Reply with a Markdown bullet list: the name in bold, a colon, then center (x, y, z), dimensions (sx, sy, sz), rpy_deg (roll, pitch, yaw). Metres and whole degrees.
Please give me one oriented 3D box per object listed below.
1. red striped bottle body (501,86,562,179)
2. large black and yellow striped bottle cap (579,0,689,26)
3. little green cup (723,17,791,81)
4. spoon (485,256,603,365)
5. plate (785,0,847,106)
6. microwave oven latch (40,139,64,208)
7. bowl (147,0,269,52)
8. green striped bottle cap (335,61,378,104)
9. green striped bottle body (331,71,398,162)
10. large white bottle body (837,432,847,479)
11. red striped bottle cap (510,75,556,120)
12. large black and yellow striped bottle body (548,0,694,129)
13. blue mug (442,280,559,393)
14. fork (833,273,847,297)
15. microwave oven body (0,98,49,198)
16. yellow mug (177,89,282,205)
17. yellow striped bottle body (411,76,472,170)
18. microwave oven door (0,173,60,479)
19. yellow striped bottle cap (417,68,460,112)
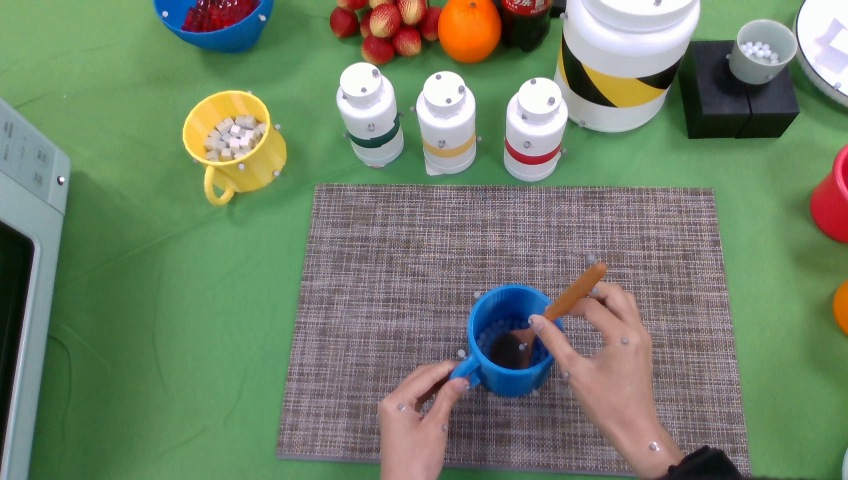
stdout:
- **red striped bottle body**: center (0.114, -0.121, 0.652), dimensions (0.063, 0.120, 0.062), rpy_deg (-3, 65, 7)
- **large black and yellow striped bottle cap**: center (0.199, -0.253, 0.574), dimensions (0.115, 0.019, 0.114), rpy_deg (-2, 66, 5)
- **little green cup**: center (0.358, -0.205, 0.656), dimensions (0.061, 0.039, 0.061), rpy_deg (-1, 65, 2)
- **spoon**: center (0.098, 0.067, 0.519), dimensions (0.021, 0.194, 0.041), rpy_deg (-26, 71, -29)
- **plate**: center (0.528, -0.231, 0.709), dimensions (0.209, 0.038, 0.207), rpy_deg (-1, 68, 4)
- **microwave oven latch**: center (-0.440, -0.076, 0.701), dimensions (0.030, 0.030, 0.078), rpy_deg (-6, 68, 2)
- **bowl**: center (-0.264, -0.298, 0.779), dimensions (0.151, 0.077, 0.150), rpy_deg (-1, 67, 4)
- **green striped bottle cap**: center (-0.070, -0.163, 0.628), dimensions (0.044, 0.020, 0.044), rpy_deg (-2, 64, 4)
- **green striped bottle body**: center (-0.065, -0.143, 0.675), dimensions (0.063, 0.120, 0.062), rpy_deg (-1, 67, 4)
- **large white bottle body**: center (0.431, 0.184, 0.463), dimensions (0.130, 0.186, 0.129), rpy_deg (-2, 66, 4)
- **red striped bottle cap**: center (0.109, -0.142, 0.604), dimensions (0.044, 0.018, 0.044), rpy_deg (0, 66, 1)
- **large black and yellow striped bottle body**: center (0.207, -0.221, 0.651), dimensions (0.131, 0.185, 0.130), rpy_deg (-2, 67, 4)
- **blue mug**: center (0.066, 0.102, 0.566), dimensions (0.116, 0.106, 0.081), rpy_deg (-34, 68, -9)
- **fork**: center (0.462, 0.070, 0.528), dimensions (0.028, 0.019, 0.205), rpy_deg (-36, 25, -10)
- **microwave oven body**: center (-0.575, 0.067, 0.547), dimensions (0.326, 0.262, 0.438), rpy_deg (-8, 68, 1)
- **yellow mug**: center (-0.228, -0.102, 0.700), dimensions (0.100, 0.064, 0.130), rpy_deg (10, 69, 9)
- **yellow striped bottle body**: center (0.020, -0.132, 0.664), dimensions (0.063, 0.121, 0.062), rpy_deg (-2, 66, 5)
- **microwave oven door**: center (-0.426, 0.085, 0.523), dimensions (0.039, 0.245, 0.353), rpy_deg (-8, 67, 2)
- **yellow striped bottle cap**: center (0.014, -0.152, 0.616), dimensions (0.044, 0.019, 0.044), rpy_deg (0, 64, 0)
